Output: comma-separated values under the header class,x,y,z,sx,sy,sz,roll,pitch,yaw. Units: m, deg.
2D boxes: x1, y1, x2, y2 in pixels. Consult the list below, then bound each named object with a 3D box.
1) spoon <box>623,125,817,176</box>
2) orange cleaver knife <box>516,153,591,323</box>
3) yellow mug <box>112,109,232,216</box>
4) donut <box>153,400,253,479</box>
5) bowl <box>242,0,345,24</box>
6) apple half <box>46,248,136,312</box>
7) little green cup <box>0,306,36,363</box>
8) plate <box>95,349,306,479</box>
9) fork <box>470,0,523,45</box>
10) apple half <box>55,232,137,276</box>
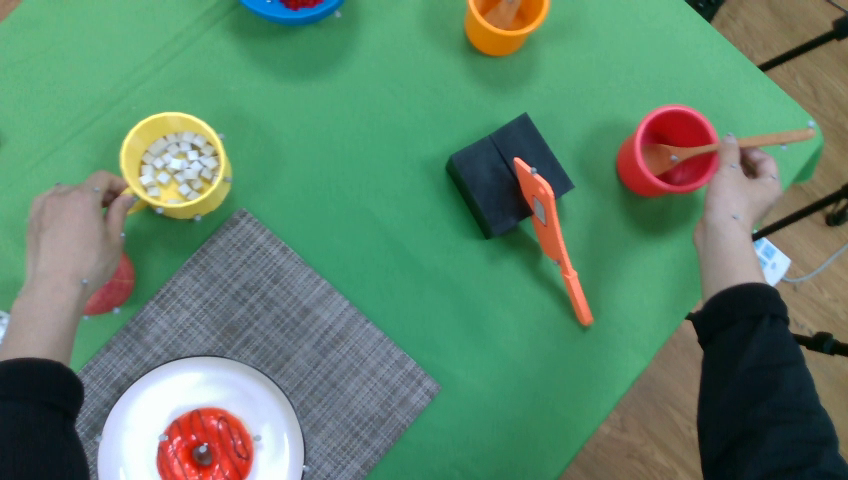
class,x,y,z,sx,sy,sz,roll,pitch,yaw
spoon,0.316,-0.101,0.663,0.022,0.193,0.041,19,71,-46
orange cleaver knife,0.142,0.001,0.667,0.012,0.076,0.213,-28,120,-6
yellow mug,-0.269,-0.070,0.637,0.131,0.064,0.100,-41,93,-14
donut,-0.226,0.214,0.622,0.099,0.048,0.099,0,87,-6
bowl,-0.143,-0.302,0.672,0.151,0.077,0.151,0,85,-5
apple half,-0.346,0.046,0.624,0.081,0.074,0.053,23,87,-6
little green cup,-0.439,0.098,0.627,0.061,0.038,0.061,0,85,-5
plate,-0.228,0.217,0.633,0.209,0.038,0.208,1,85,-5
fork,0.128,-0.292,0.661,0.207,0.018,0.028,-39,85,36
apple half,-0.331,0.010,0.627,0.081,0.081,0.033,22,86,-3
